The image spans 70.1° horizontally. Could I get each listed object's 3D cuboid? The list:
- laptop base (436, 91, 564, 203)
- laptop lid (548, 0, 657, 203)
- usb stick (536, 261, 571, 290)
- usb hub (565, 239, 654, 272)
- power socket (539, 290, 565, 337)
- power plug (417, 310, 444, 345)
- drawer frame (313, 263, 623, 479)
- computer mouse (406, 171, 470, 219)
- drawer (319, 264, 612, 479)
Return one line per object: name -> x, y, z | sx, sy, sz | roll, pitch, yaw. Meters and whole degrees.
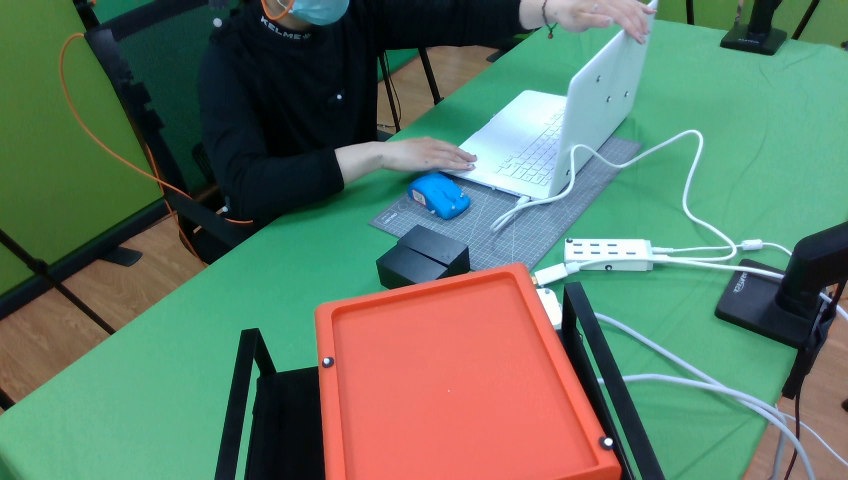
laptop base -> 0.214, -0.192, 1.172 | 0.233, 0.023, 0.355 | 19, 46, 32
laptop lid -> 0.308, -0.242, 1.031 | 0.013, 0.242, 0.357 | 25, 48, 26
usb stick -> 0.182, 0.056, 0.876 | 0.059, 0.027, 0.021 | -33, 86, -5
usb hub -> 0.275, 0.022, 0.906 | 0.125, 0.025, 0.049 | 1, 41, 9
power socket -> 0.081, 0.112, 0.822 | 0.227, 0.033, 0.072 | -6, 41, 0
power plug -> 0.007, 0.122, 0.785 | 0.035, 0.053, 0.072 | 1, 39, 8
drawer frame -> 0.021, 0.130, 0.493 | 0.202, 0.083, 0.212 | -11, 41, -6
computer mouse -> 0.024, -0.082, 1.050 | 0.063, 0.041, 0.116 | -30, 49, -27
drawer -> 0.020, 0.129, 0.497 | 0.195, 0.073, 0.210 | -11, 41, -5
